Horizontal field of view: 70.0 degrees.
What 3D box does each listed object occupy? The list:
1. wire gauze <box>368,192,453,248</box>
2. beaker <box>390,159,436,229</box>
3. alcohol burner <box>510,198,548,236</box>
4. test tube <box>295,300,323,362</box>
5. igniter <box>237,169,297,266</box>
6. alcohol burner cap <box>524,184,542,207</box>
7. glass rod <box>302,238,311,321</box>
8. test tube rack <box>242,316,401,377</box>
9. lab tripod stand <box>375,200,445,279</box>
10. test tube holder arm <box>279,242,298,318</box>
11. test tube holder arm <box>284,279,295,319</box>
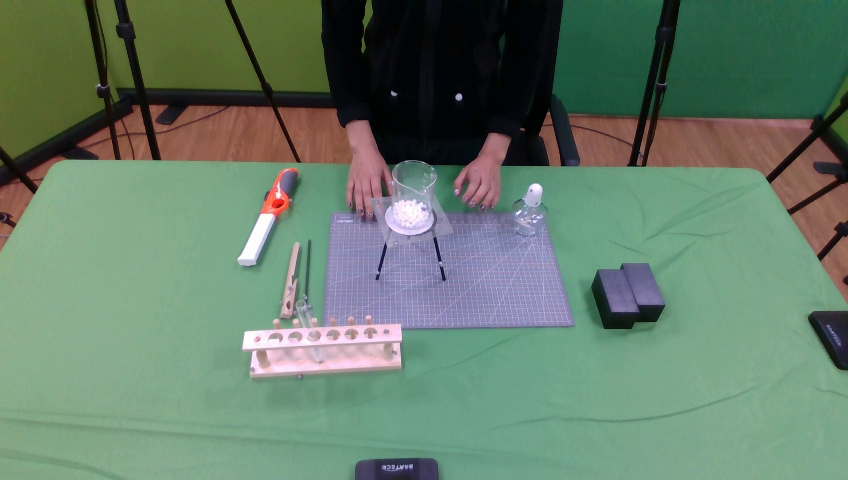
[{"bbox_3d":[-0.025,-0.041,1.065,0.122,0.011,0.124,-10,46,-18],"label":"wire gauze"},{"bbox_3d":[-0.020,-0.073,1.029,0.074,0.101,0.083,-10,48,-16],"label":"beaker"},{"bbox_3d":[0.214,-0.066,1.213,0.078,0.119,0.077,2,48,-2],"label":"alcohol burner"},{"bbox_3d":[-0.176,0.143,0.935,0.017,0.151,0.017,-2,46,2],"label":"test tube"},{"bbox_3d":[-0.313,-0.055,1.224,0.057,0.025,0.275,1,45,10],"label":"igniter"},{"bbox_3d":[0.216,-0.090,1.186,0.034,0.048,0.033,1,56,-1],"label":"alcohol burner cap"},{"bbox_3d":[-0.217,0.069,1.125,0.008,0.008,0.198,-1,47,-5],"label":"glass rod"},{"bbox_3d":[-0.161,0.166,0.983,0.242,0.085,0.066,-2,46,-6],"label":"test tube rack"},{"bbox_3d":[-0.023,0.003,1.113,0.148,0.132,0.147,4,45,-3],"label":"lab tripod stand"},{"bbox_3d":[-0.248,0.069,1.114,0.013,0.015,0.177,25,38,-26],"label":"test tube holder arm"},{"bbox_3d":[-0.241,0.103,1.085,0.010,0.015,0.087,25,38,-26],"label":"test tube holder arm"}]
